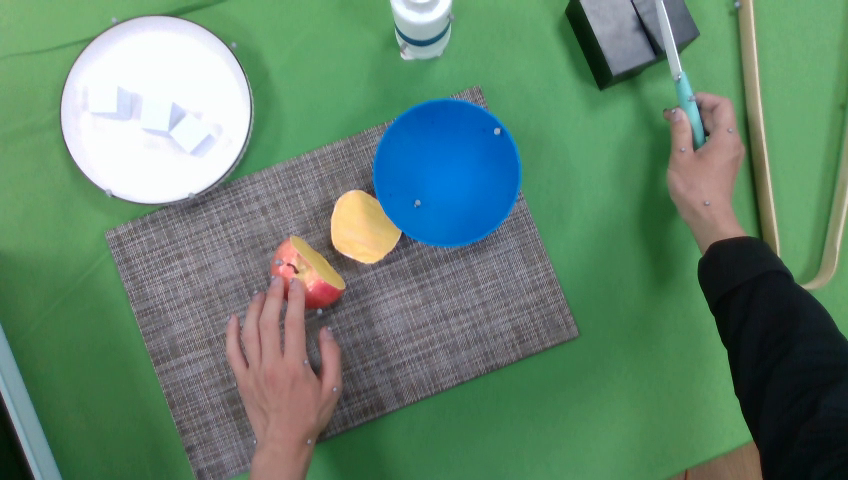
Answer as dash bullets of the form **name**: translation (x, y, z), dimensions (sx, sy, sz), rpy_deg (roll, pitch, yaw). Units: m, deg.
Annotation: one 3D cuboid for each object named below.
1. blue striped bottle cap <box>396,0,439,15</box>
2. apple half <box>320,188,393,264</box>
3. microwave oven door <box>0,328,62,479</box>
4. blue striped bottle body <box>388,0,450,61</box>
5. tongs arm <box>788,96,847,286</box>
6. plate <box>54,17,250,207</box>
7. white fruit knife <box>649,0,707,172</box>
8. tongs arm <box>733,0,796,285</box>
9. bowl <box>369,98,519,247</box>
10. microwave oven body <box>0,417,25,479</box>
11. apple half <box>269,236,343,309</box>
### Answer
- **blue striped bottle cap**: translation (-0.006, -0.241, 0.579), dimensions (0.044, 0.020, 0.044), rpy_deg (0, 86, -2)
- **apple half**: translation (-0.074, -0.014, 0.655), dimensions (0.081, 0.032, 0.081), rpy_deg (0, 96, -3)
- **microwave oven door**: translation (-0.409, 0.236, 0.529), dimensions (0.039, 0.244, 0.355), rpy_deg (-24, 87, -1)
- **blue striped bottle body**: translation (-0.005, -0.238, 0.630), dimensions (0.063, 0.121, 0.063), rpy_deg (0, 87, 0)
- **tongs arm**: translation (0.454, -0.137, 0.670), dimensions (0.051, 0.026, 0.384), rpy_deg (8, 89, 1)
- **plate**: translation (-0.293, -0.137, 0.667), dimensions (0.208, 0.039, 0.207), rpy_deg (0, 87, -1)
- **white fruit knife**: translation (0.261, -0.167, 0.632), dimensions (0.016, 0.027, 0.208), rpy_deg (-23, 105, -1)
- **tongs arm**: translation (0.372, -0.141, 0.674), dimensions (0.028, 0.028, 0.387), rpy_deg (-5, 88, -2)
- **bowl**: translation (0.021, -0.065, 0.640), dimensions (0.151, 0.077, 0.151), rpy_deg (0, 88, 0)
- **microwave oven body**: translation (-0.560, 0.256, 0.533), dimensions (0.326, 0.260, 0.441), rpy_deg (-23, 88, -2)
- **apple half**: translation (-0.130, 0.042, 0.637), dimensions (0.053, 0.075, 0.080), rpy_deg (-45, 84, 6)
